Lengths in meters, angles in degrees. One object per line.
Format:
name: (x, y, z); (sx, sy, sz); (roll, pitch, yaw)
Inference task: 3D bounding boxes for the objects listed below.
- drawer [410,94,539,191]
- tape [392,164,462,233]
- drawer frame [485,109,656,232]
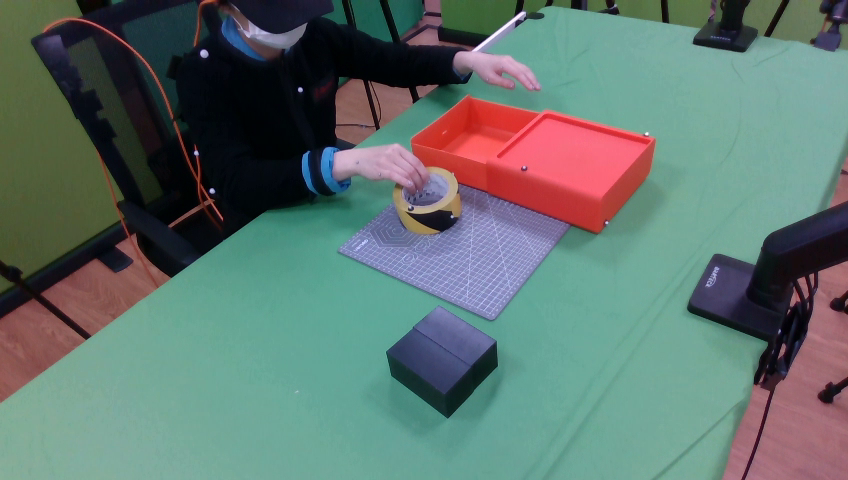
drawer: (0.116, -0.180, 1.118); (0.210, 0.073, 0.195); (22, 48, 31)
tape: (0.004, -0.070, 1.005); (0.117, 0.053, 0.116); (-6, 49, 8)
drawer frame: (0.247, -0.126, 1.029); (0.212, 0.083, 0.202); (24, 49, 30)
